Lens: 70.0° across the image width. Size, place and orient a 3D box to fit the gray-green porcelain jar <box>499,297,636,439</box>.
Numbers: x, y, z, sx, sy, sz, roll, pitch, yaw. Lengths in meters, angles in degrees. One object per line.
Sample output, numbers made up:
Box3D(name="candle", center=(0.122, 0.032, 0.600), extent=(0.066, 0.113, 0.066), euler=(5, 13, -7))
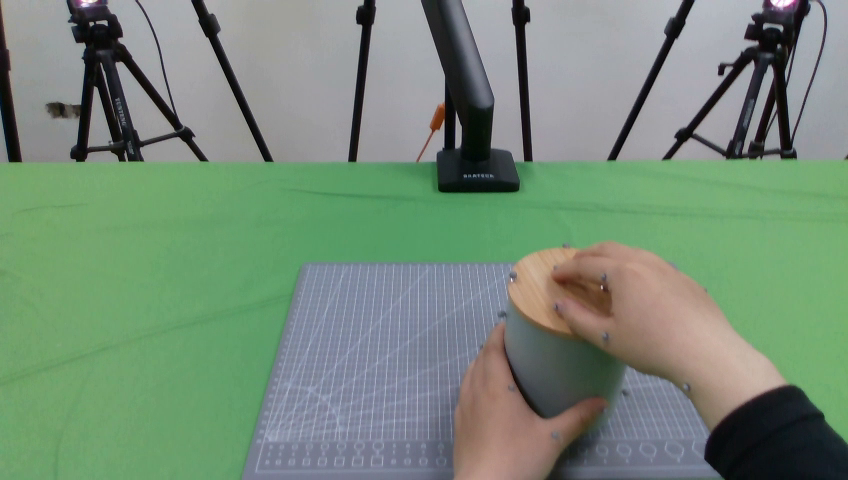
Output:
Box3D(name="gray-green porcelain jar", center=(0.119, 0.098, 0.521), extent=(0.106, 0.127, 0.105), euler=(0, 35, 0))

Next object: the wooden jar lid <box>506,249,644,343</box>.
Box3D(name="wooden jar lid", center=(0.119, 0.046, 0.486), extent=(0.108, 0.021, 0.107), euler=(0, 35, 1))
